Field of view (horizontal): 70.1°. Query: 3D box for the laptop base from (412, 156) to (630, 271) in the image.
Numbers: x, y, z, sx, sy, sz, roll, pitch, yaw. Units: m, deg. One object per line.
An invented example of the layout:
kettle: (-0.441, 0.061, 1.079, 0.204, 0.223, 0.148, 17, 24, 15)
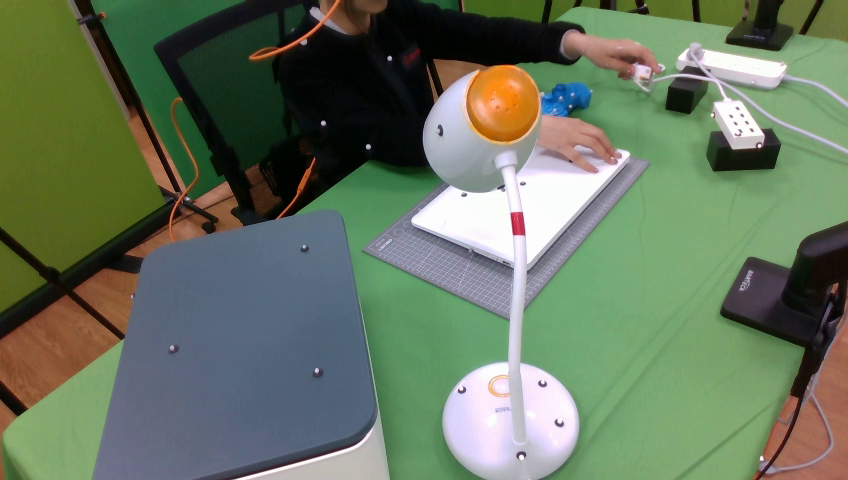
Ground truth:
laptop base: (0.175, -0.084, 1.056, 0.233, 0.023, 0.355, 21, 48, 35)

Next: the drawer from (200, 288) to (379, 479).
drawer: (-0.172, 0.176, 0.760, 0.195, 0.073, 0.210, -13, 42, -8)

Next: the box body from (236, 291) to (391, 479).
box body: (-0.190, 0.161, 0.723, 0.255, 0.161, 0.361, -13, 40, -5)

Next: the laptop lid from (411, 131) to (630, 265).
laptop lid: (0.172, -0.094, 1.050, 0.239, 0.013, 0.358, 23, 49, 36)

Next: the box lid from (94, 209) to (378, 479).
box lid: (-0.202, 0.094, 0.680, 0.264, 0.015, 0.368, -13, 39, -5)

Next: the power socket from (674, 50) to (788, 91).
power socket: (0.646, -0.363, 1.284, 0.225, 0.033, 0.072, 25, 52, 34)

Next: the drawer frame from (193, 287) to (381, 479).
drawer frame: (-0.172, 0.176, 0.755, 0.202, 0.083, 0.212, -14, 42, -7)

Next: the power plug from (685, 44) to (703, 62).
power plug: (0.568, -0.390, 1.294, 0.073, 0.053, 0.035, -33, 46, -22)

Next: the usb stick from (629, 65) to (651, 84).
usb stick: (0.392, -0.298, 1.092, 0.021, 0.027, 0.059, 9, 27, -5)

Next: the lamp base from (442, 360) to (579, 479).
lamp base: (0.094, 0.158, 0.657, 0.161, 0.181, 0.178, -13, 42, -5)

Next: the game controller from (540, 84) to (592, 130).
game controller: (0.277, -0.282, 1.251, 0.096, 0.052, 0.155, 27, 52, 31)

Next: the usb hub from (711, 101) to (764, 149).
usb hub: (0.536, -0.199, 1.040, 0.049, 0.025, 0.124, -4, 39, 9)

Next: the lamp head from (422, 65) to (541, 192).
lamp head: (0.060, -0.106, 0.560, 0.113, 0.112, 0.122, -17, 0, -8)
